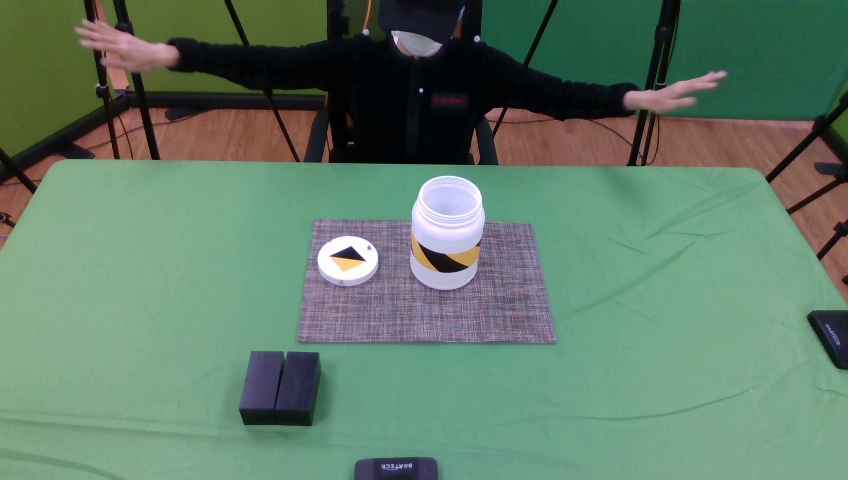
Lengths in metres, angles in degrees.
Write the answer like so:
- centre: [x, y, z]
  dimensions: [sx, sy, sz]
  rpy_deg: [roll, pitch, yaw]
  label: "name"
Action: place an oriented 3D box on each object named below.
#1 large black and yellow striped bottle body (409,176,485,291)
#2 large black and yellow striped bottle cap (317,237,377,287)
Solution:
- centre: [0.040, -0.012, 1.095]
  dimensions: [0.131, 0.185, 0.130]
  rpy_deg: [2, 46, -2]
  label: "large black and yellow striped bottle body"
- centre: [-0.146, 0.040, 1.148]
  dimensions: [0.115, 0.019, 0.114]
  rpy_deg: [2, 47, -2]
  label: "large black and yellow striped bottle cap"
